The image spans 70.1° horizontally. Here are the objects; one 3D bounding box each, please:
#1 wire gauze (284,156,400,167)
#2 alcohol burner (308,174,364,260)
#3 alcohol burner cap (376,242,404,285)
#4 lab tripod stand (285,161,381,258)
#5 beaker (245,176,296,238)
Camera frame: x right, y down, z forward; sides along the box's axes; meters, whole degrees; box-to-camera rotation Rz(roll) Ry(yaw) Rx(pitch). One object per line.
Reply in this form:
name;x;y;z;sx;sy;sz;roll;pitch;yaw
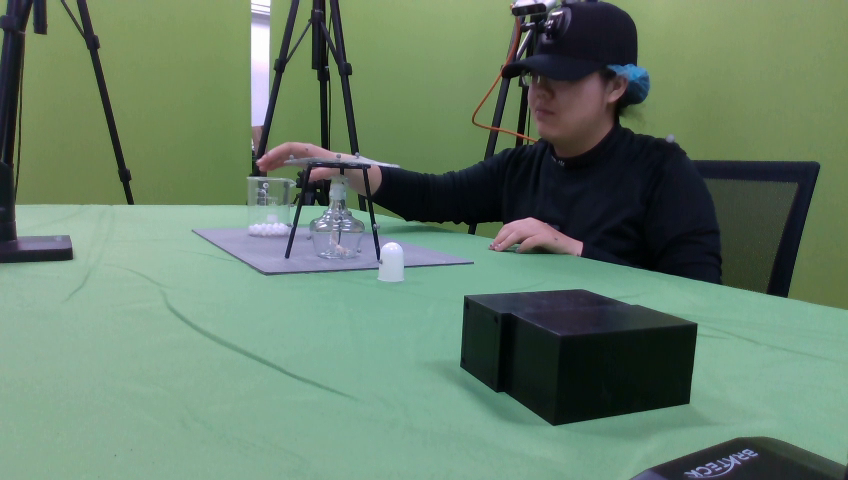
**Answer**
wire gauze;-0.115;-0.109;0.835;0.126;0.011;0.121;-3;10;-30
alcohol burner;-0.121;-0.033;0.843;0.078;0.119;0.078;3;5;0
alcohol burner cap;-0.039;0.026;0.710;0.034;0.048;0.034;3;6;0
lab tripod stand;-0.123;-0.043;0.842;0.148;0.131;0.148;3;9;0
beaker;-0.263;-0.057;1.034;0.084;0.100;0.073;1;8;-17
